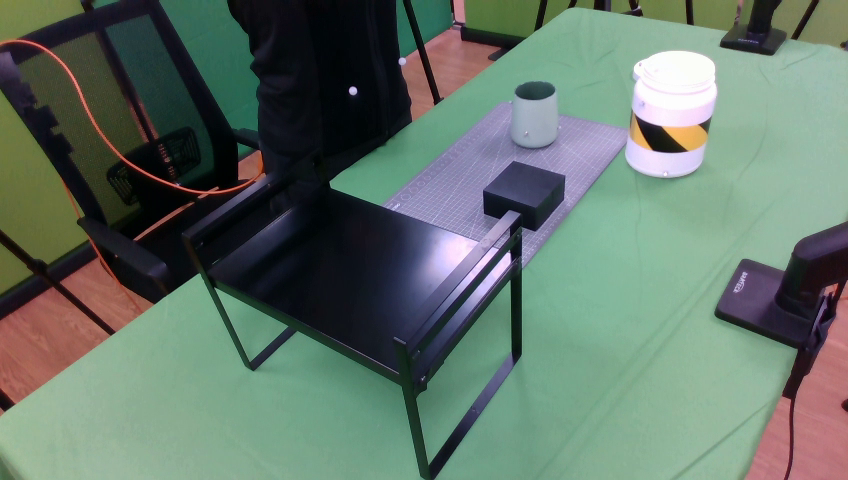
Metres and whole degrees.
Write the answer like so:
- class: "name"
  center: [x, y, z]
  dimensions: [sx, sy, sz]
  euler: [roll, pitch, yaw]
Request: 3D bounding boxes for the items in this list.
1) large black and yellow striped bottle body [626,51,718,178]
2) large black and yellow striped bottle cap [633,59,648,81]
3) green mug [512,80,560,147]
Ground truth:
- class: "large black and yellow striped bottle body"
  center: [0.423, -0.214, 1.038]
  dimensions: [0.131, 0.185, 0.130]
  euler: [-4, 41, 4]
- class: "large black and yellow striped bottle cap"
  center: [0.521, -0.370, 1.332]
  dimensions: [0.115, 0.019, 0.114]
  euler: [-3, 41, 3]
- class: "green mug"
  center: [0.217, -0.251, 1.169]
  dimensions: [0.092, 0.105, 0.125]
  euler: [2, 42, 12]
